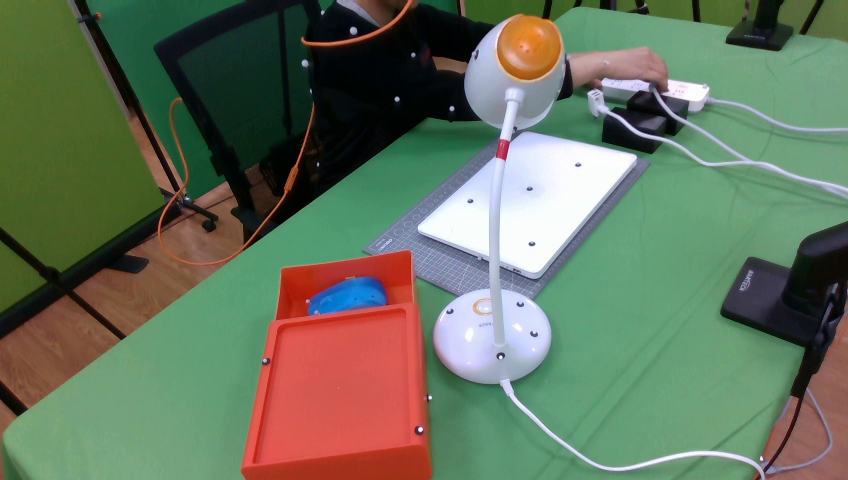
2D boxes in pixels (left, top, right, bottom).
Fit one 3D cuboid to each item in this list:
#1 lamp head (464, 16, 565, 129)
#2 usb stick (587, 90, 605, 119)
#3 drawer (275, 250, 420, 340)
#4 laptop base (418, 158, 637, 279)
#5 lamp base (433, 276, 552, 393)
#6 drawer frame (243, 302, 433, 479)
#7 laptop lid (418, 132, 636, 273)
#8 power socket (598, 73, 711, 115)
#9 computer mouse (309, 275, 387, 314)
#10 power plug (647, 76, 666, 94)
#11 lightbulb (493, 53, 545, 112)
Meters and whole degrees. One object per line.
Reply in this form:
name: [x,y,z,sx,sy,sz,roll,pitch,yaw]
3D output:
lamp head: [0.101,-0.184,0.655,0.112,0.112,0.123,-9,1,0]
usb stick: [0.335,-0.258,1.171,0.021,0.059,0.027,-28,44,-3]
drawer: [-0.103,0.117,0.825,0.194,0.073,0.210,-8,40,1]
laptop base: [0.185,-0.074,1.042,0.233,0.023,0.355,19,47,35]
lamp base: [0.085,0.075,0.756,0.161,0.181,0.178,-14,44,-6]
drawer frame: [-0.096,0.185,0.738,0.202,0.083,0.212,-8,40,1]
laptop lid: [0.182,-0.084,1.036,0.239,0.013,0.358,22,49,35]
power socket: [0.470,-0.304,1.248,0.225,0.033,0.072,20,49,30]
computer mouse: [-0.112,0.089,0.881,0.117,0.041,0.062,-16,42,0]
power plug: [0.456,-0.300,1.213,0.073,0.053,0.035,-38,47,-25]
lightbulb: [0.109,-0.181,0.678,0.059,0.059,0.107,-10,-3,0]
